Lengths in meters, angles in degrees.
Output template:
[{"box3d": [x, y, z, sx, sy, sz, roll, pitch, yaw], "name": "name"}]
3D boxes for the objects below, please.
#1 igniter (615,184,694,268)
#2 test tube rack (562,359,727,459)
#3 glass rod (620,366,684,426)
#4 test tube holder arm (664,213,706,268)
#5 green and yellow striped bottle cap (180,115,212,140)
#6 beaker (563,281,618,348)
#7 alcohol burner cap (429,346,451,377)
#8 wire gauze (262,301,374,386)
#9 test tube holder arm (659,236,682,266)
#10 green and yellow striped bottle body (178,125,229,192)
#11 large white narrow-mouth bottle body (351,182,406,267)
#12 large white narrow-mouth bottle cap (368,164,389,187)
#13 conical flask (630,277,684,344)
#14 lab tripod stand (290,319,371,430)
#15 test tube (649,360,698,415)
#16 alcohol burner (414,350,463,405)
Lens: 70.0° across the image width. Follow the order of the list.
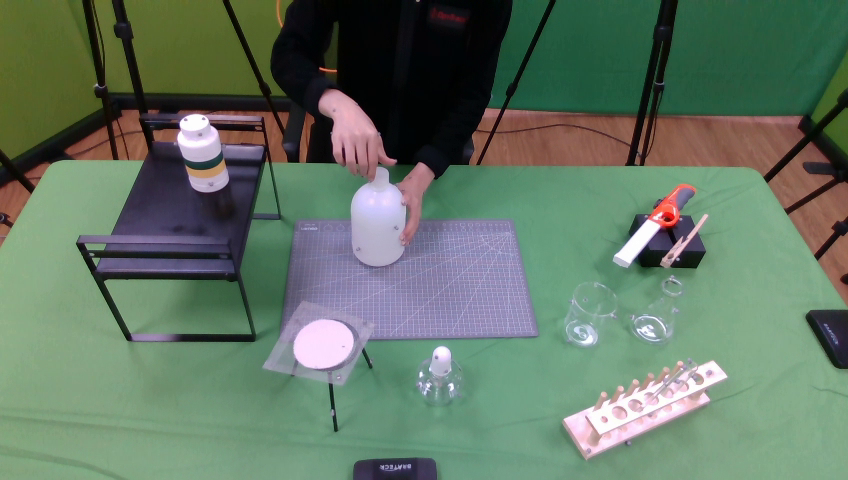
[{"box3d": [0.459, -0.035, 1.197, 0.057, 0.025, 0.276, 32, 55, 27], "name": "igniter"}, {"box3d": [0.341, 0.247, 0.940, 0.243, 0.085, 0.066, -16, 49, -18], "name": "test tube rack"}, {"box3d": [0.322, 0.227, 0.866, 0.008, 0.200, 0.008, 5, 51, -7], "name": "glass rod"}, {"box3d": [0.506, -0.001, 1.171, 0.013, 0.015, 0.178, 33, 53, 27], "name": "test tube holder arm"}, {"box3d": [-0.358, -0.177, 0.951, 0.045, 0.020, 0.045, 2, 45, -2], "name": "green and yellow striped bottle cap"}, {"box3d": [0.283, 0.129, 1.041, 0.074, 0.101, 0.083, 11, 46, 7], "name": "beaker"}, {"box3d": [0.026, 0.180, 0.912, 0.034, 0.048, 0.033, 1, 47, -1], "name": "alcohol burner cap"}, {"box3d": [-0.150, 0.148, 0.873, 0.121, 0.011, 0.124, 14, 46, 12], "name": "wire gauze"}, {"box3d": [0.472, 0.020, 1.149, 0.010, 0.015, 0.088, 34, 54, 28], "name": "test tube holder arm"}, {"box3d": [-0.361, -0.142, 0.989, 0.063, 0.120, 0.063, 2, 46, -2], "name": "green and yellow striped bottle body"}, {"box3d": [-0.084, -0.046, 1.114, 0.102, 0.195, 0.101, 3, 44, -2], "name": "large white narrow-mouth bottle body"}, {"box3d": [-0.078, -0.112, 1.051, 0.038, 0.024, 0.037, 3, 44, -2], "name": "large white narrow-mouth bottle cap"}, {"box3d": [0.408, 0.117, 1.045, 0.075, 0.122, 0.075, 2, 46, -2], "name": "conical flask"}, {"box3d": [-0.146, 0.194, 0.923, 0.148, 0.132, 0.147, 1, 47, -1], "name": "lab tripod stand"}, {"box3d": [0.365, 0.222, 0.898, 0.017, 0.151, 0.017, 4, 49, -5], "name": "test tube"}, {"box3d": [0.023, 0.205, 0.939, 0.078, 0.120, 0.077, 1, 47, -1], "name": "alcohol burner"}]
